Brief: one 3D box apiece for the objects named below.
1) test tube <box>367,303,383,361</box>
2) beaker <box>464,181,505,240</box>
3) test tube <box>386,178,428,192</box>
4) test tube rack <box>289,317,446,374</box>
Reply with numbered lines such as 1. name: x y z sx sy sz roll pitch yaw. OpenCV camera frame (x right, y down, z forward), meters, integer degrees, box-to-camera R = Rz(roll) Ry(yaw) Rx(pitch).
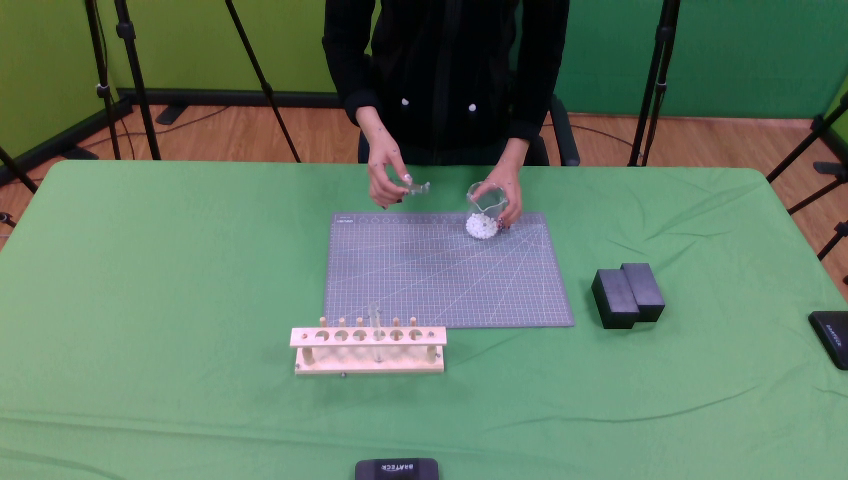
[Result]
1. test tube: -0.075 0.145 0.941 0.017 0.151 0.017 0 49 0
2. beaker: 0.118 -0.054 1.204 0.074 0.101 0.083 11 47 8
3. test tube: -0.033 -0.099 1.094 0.017 0.017 0.150 -23 19 -24
4. test tube rack: -0.089 0.167 0.988 0.242 0.085 0.066 0 46 -4
